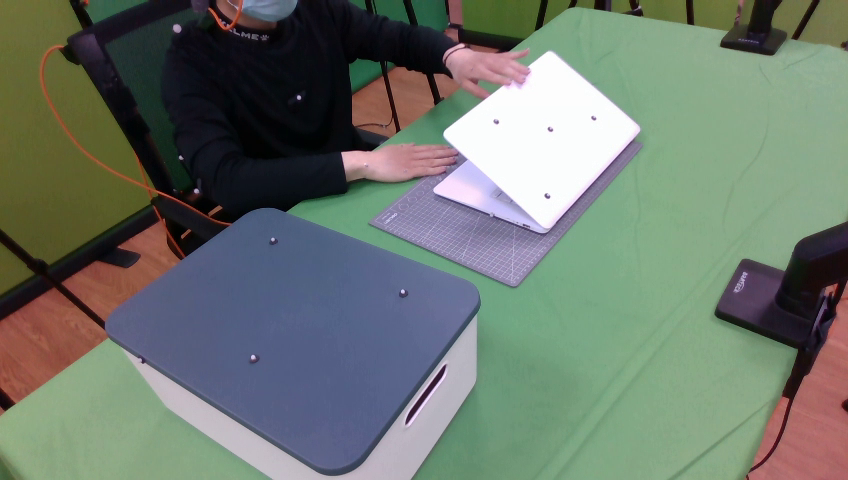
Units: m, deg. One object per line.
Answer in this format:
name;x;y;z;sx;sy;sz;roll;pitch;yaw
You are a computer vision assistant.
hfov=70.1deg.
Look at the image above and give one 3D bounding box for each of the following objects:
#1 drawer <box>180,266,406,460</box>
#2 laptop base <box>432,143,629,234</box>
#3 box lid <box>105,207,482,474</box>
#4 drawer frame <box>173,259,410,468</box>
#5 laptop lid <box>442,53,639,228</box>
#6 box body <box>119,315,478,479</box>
drawer;-0.162;0.145;0.772;0.210;0.073;0.195;22;46;32
laptop base;0.210;-0.142;1.111;0.233;0.023;0.355;21;48;33
box lid;-0.149;0.079;0.677;0.369;0.015;0.264;20;46;28
drawer frame;-0.163;0.142;0.768;0.212;0.083;0.202;24;51;29
laptop lid;0.217;-0.190;1.055;0.241;0.013;0.358;44;56;8
box body;-0.140;0.136;0.725;0.361;0.161;0.254;19;47;28
